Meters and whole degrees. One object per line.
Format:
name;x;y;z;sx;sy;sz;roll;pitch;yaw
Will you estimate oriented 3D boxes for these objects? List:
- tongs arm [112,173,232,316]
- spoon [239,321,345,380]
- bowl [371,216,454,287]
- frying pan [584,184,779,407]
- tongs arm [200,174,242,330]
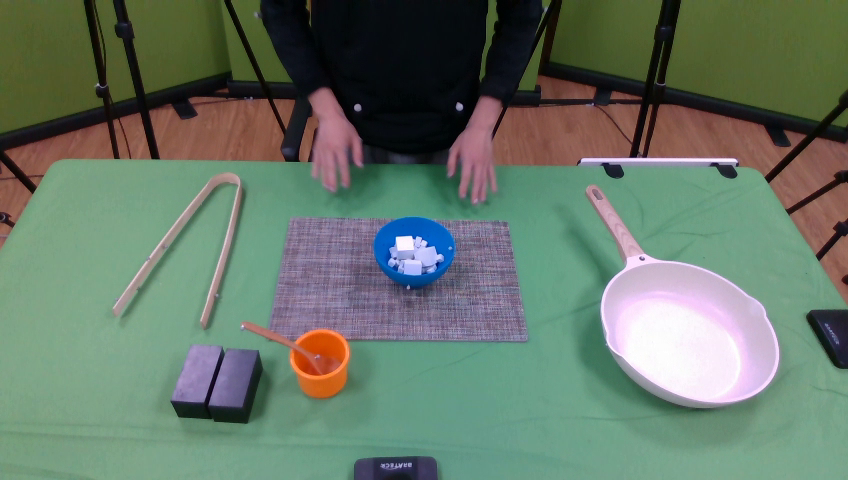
tongs arm;-0.467;-0.005;1.157;0.051;0.026;0.382;11;45;4
spoon;-0.200;0.168;0.934;0.021;0.195;0.041;-34;36;25
bowl;-0.022;0.034;1.119;0.151;0.077;0.150;2;46;-2
frying pan;0.412;0.079;1.097;0.307;0.103;0.484;-10;56;-15
tongs arm;-0.387;0.008;1.158;0.028;0.028;0.385;-1;46;-3
